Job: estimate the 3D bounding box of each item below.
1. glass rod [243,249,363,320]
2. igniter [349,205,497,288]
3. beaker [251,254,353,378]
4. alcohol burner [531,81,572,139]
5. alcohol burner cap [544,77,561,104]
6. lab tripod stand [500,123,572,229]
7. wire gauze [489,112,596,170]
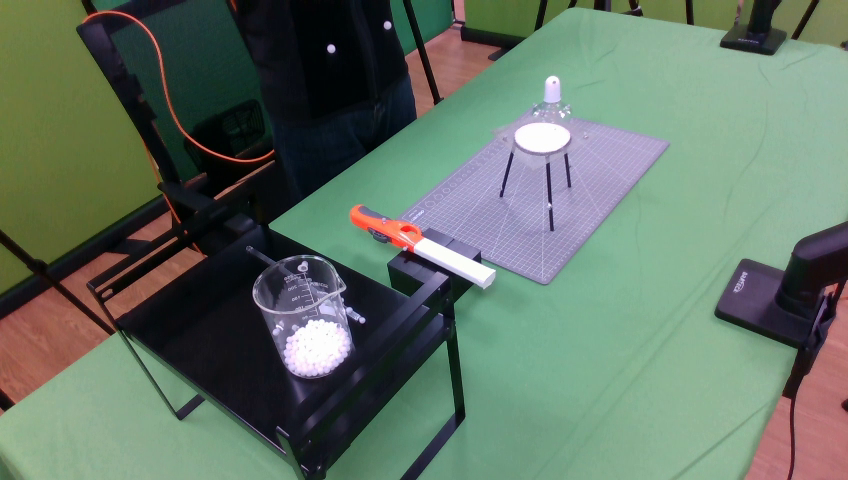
[{"bbox_3d":[-0.141,0.046,0.674,0.198,0.008,0.008,24,49,32],"label":"glass rod"},{"bbox_3d":[-0.013,0.004,0.897,0.274,0.025,0.057,25,45,32],"label":"igniter"},{"bbox_3d":[-0.106,0.074,0.565,0.084,0.101,0.073,-1,41,8],"label":"beaker"},{"bbox_3d":[0.246,-0.256,1.165,0.078,0.119,0.077,-6,40,6],"label":"alcohol burner"},{"bbox_3d":[0.243,-0.285,1.143,0.034,0.048,0.033,-4,37,4],"label":"alcohol burner cap"},{"bbox_3d":[0.194,-0.110,0.985,0.148,0.132,0.147,-3,41,3],"label":"lab tripod stand"},{"bbox_3d":[0.183,-0.161,0.942,0.122,0.011,0.124,-24,44,-18],"label":"wire gauze"}]
